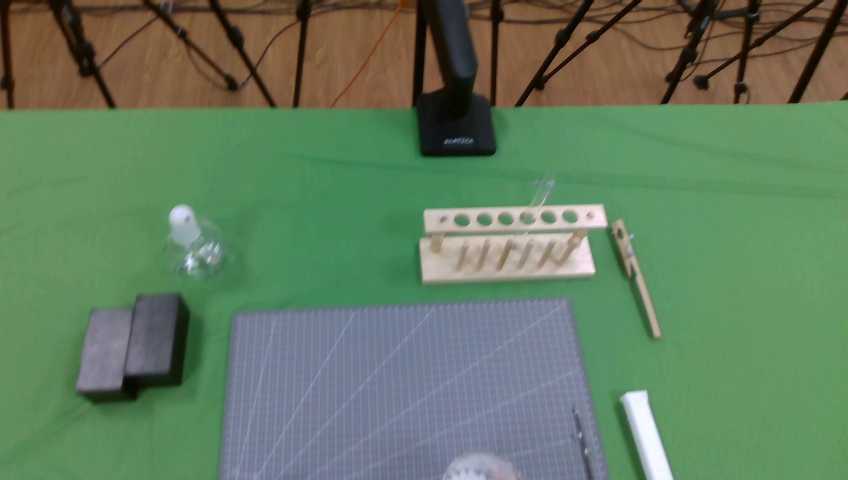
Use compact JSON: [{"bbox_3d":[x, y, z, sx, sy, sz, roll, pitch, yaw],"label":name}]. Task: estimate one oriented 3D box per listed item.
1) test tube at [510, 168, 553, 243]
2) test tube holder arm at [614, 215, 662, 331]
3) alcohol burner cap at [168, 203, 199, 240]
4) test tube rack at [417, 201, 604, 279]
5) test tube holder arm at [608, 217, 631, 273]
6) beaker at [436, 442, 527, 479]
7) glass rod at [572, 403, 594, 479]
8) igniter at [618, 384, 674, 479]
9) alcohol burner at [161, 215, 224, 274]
[{"bbox_3d":[0.137,-0.040,0.791,0.017,0.151,0.017,5,56,-7],"label":"test tube"},{"bbox_3d":[0.299,0.044,0.853,0.013,0.015,0.176,-25,60,21],"label":"test tube holder arm"},{"bbox_3d":[-0.295,-0.026,0.739,0.034,0.048,0.033,6,54,-7],"label":"alcohol burner cap"},{"bbox_3d":[0.116,0.001,0.823,0.243,0.086,0.066,-2,61,-7],"label":"test tube rack"},{"bbox_3d":[0.285,0.007,0.875,0.010,0.015,0.087,-25,61,22],"label":"test tube holder arm"},{"bbox_3d":[0.050,0.237,0.574,0.084,0.101,0.073,-11,63,-10],"label":"beaker"},{"bbox_3d":[0.197,0.289,0.708,0.008,0.008,0.198,-3,61,-7],"label":"glass rod"},{"bbox_3d":[0.280,0.304,0.701,0.057,0.025,0.274,0,60,-17],"label":"igniter"},{"bbox_3d":[-0.298,-0.006,0.770,0.078,0.120,0.077,2,59,-2],"label":"alcohol burner"}]
